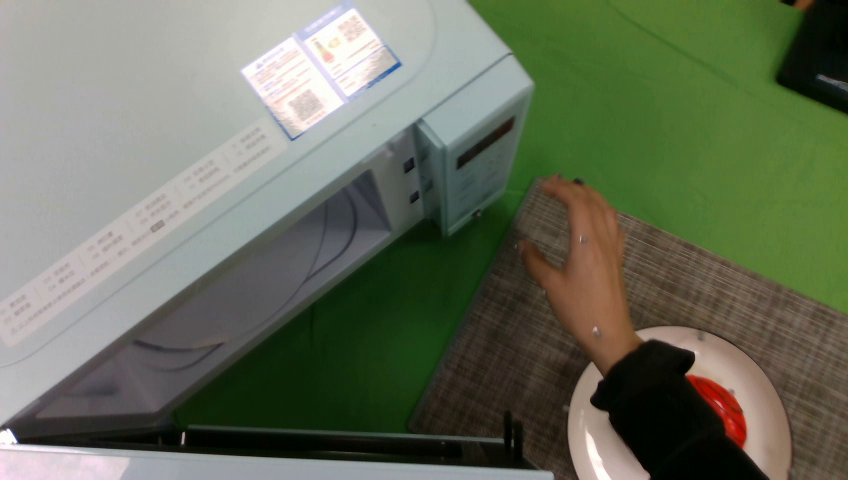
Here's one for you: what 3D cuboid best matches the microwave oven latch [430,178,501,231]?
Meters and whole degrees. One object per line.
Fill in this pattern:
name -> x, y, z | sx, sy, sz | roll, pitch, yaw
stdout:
microwave oven latch -> 0.043, -0.045, 0.624 | 0.079, 0.029, 0.030 | -38, 78, -6

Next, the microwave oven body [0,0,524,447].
microwave oven body -> -0.192, -0.072, 0.538 | 0.441, 0.261, 0.324 | -38, 79, -7

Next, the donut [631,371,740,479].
donut -> 0.244, 0.173, 0.568 | 0.099, 0.048, 0.098 | 0, 78, 0

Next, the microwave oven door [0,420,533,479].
microwave oven door -> -0.098, 0.171, 0.471 | 0.356, 0.245, 0.039 | 2, 76, 2

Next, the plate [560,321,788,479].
plate -> 0.233, 0.182, 0.578 | 0.209, 0.038, 0.208 | 0, 76, 1
